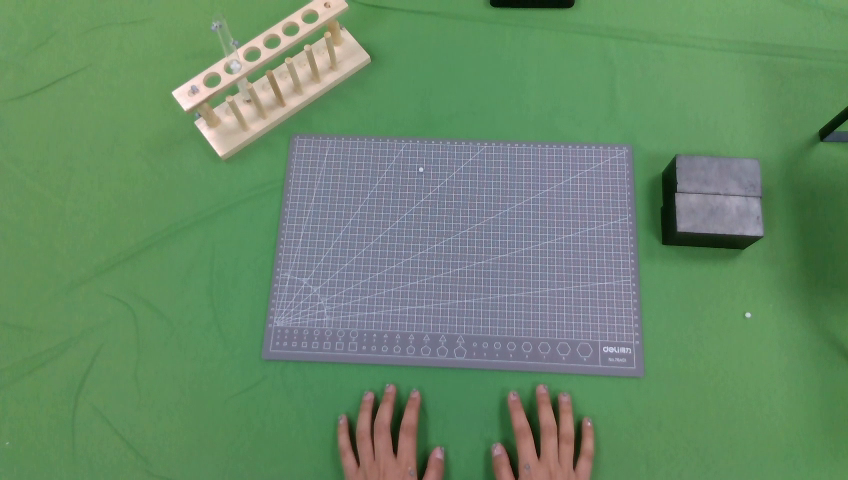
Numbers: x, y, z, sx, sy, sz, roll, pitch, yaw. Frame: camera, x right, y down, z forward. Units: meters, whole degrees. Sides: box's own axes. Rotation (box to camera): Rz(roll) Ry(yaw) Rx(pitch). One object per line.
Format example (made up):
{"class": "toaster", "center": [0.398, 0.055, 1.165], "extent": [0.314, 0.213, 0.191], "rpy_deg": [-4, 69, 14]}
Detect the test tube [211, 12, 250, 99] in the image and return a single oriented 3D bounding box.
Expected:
{"class": "test tube", "center": [-0.232, -0.220, 0.739], "extent": [0.017, 0.151, 0.017], "rpy_deg": [1, 68, -3]}

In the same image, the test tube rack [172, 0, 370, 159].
{"class": "test tube rack", "center": [-0.191, -0.215, 0.788], "extent": [0.242, 0.086, 0.066], "rpy_deg": [-37, 74, -10]}
